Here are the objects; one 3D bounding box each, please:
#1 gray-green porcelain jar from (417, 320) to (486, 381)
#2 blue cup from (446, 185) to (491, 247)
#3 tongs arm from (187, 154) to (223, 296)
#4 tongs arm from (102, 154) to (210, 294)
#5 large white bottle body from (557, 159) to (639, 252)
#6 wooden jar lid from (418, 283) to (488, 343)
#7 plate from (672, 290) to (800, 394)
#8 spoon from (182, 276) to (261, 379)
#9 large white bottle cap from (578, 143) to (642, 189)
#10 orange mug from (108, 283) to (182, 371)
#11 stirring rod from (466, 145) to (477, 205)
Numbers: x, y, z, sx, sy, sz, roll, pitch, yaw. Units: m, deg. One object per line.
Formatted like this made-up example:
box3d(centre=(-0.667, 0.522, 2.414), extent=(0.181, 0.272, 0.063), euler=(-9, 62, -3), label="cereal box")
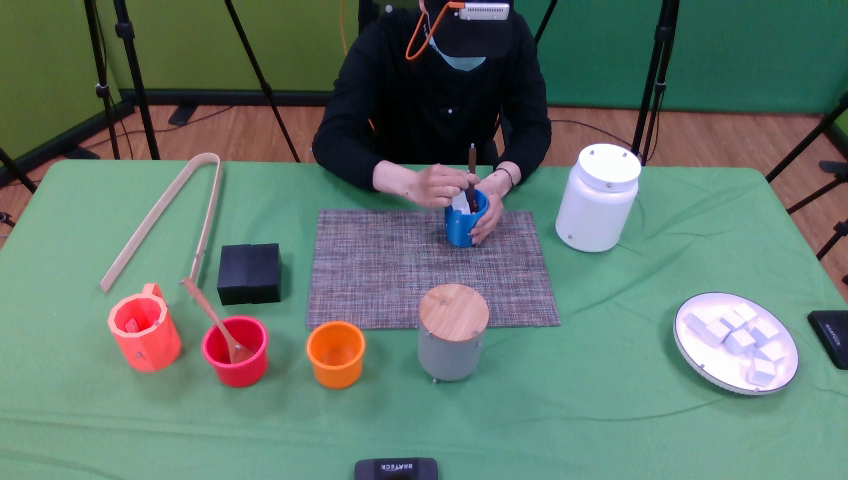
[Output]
box3d(centre=(0.042, 0.158, 0.975), extent=(0.106, 0.127, 0.105), euler=(2, 46, -2), label="gray-green porcelain jar")
box3d(centre=(0.081, -0.041, 1.185), extent=(0.093, 0.100, 0.092), euler=(4, 44, -3), label="blue cup")
box3d(centre=(-0.442, -0.045, 1.199), extent=(0.051, 0.027, 0.382), euler=(-4, 46, 1), label="tongs arm")
box3d(centre=(-0.524, -0.046, 1.203), extent=(0.028, 0.028, 0.385), euler=(4, 45, 13), label="tongs arm")
box3d(centre=(0.340, -0.081, 1.185), extent=(0.131, 0.185, 0.130), euler=(2, 46, -1), label="large white bottle body")
box3d(centre=(0.045, 0.114, 0.931), extent=(0.108, 0.021, 0.107), euler=(2, 49, -2), label="wooden jar lid")
box3d(centre=(0.533, 0.179, 1.050), extent=(0.208, 0.039, 0.206), euler=(2, 46, -2), label="plate")
box3d(centre=(-0.321, 0.137, 0.957), extent=(0.041, 0.021, 0.194), euler=(-36, 102, -32), label="spoon")
box3d(centre=(0.344, -0.139, 1.123), extent=(0.115, 0.018, 0.114), euler=(2, 47, -2), label="large white bottle cap")
box3d(centre=(-0.445, 0.134, 0.982), extent=(0.083, 0.101, 0.125), euler=(-1, 50, -5), label="orange mug")
box3d(centre=(0.088, -0.097, 1.142), extent=(0.014, 0.177, 0.006), euler=(-14, 38, -20), label="stirring rod")
